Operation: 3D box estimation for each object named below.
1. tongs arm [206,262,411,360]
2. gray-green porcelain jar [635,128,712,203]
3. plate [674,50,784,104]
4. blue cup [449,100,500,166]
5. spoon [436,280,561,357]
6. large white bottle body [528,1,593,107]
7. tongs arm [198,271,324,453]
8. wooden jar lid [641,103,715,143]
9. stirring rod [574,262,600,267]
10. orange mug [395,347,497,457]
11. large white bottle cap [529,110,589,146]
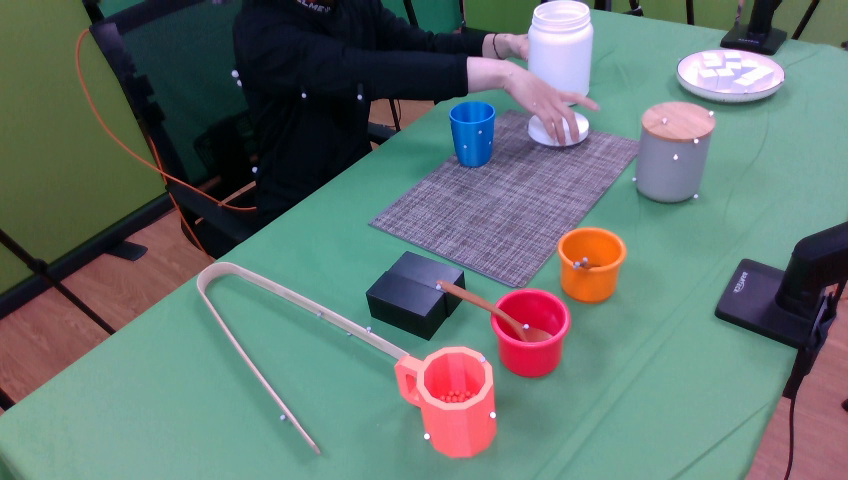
[{"bbox_3d":[-0.179,0.106,0.870,0.381,0.027,0.051,23,55,32],"label":"tongs arm"},{"bbox_3d":[0.404,-0.133,0.992,0.106,0.127,0.105,-4,40,4],"label":"gray-green porcelain jar"},{"bbox_3d":[0.631,-0.336,1.262,0.207,0.039,0.206,-4,41,4],"label":"plate"},{"bbox_3d":[0.092,-0.195,1.123,0.092,0.100,0.092,-3,40,3],"label":"blue cup"},{"bbox_3d":[0.096,0.095,0.757,0.195,0.021,0.041,34,41,-20],"label":"spoon"},{"bbox_3d":[0.282,-0.387,1.260,0.130,0.185,0.130,-5,41,4],"label":"large white bottle body"},{"bbox_3d":[-0.236,0.154,0.831,0.028,0.028,0.384,-37,48,-18],"label":"tongs arm"},{"bbox_3d":[0.398,-0.180,0.952,0.108,0.021,0.108,-4,43,4],"label":"wooden jar lid"},{"bbox_3d":[0.222,0.033,0.816,0.014,0.006,0.177,7,0,22],"label":"stirring rod"},{"bbox_3d":[0.024,0.180,0.703,0.125,0.101,0.083,21,48,23],"label":"orange mug"},{"bbox_3d":[0.261,-0.218,1.175,0.115,0.018,0.114,-3,39,3],"label":"large white bottle cap"}]
